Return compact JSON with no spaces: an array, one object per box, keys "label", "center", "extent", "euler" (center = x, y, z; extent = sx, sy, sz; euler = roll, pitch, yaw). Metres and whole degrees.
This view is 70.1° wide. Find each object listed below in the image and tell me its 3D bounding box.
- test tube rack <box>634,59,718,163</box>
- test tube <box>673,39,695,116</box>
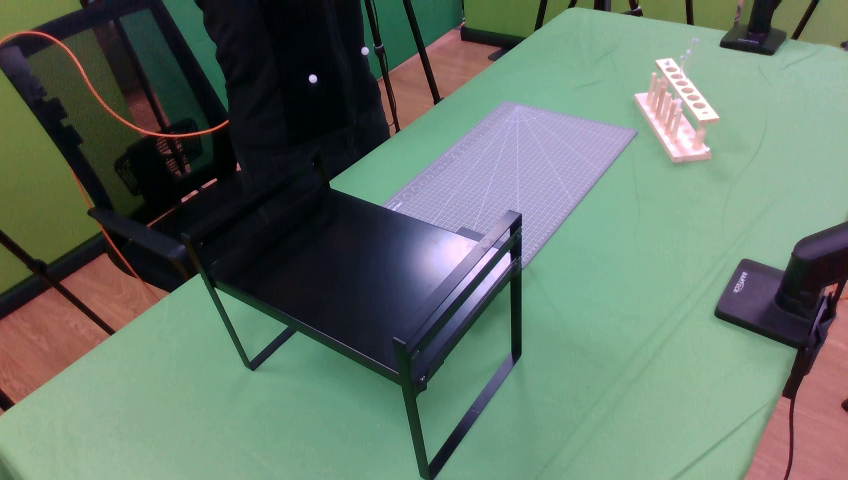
[{"label":"test tube rack","center":[0.470,-0.250,1.148],"extent":[0.067,0.085,0.241],"euler":[-6,40,3]},{"label":"test tube","center":[0.482,-0.300,1.128],"extent":[0.017,0.151,0.017],"euler":[-2,39,2]}]
